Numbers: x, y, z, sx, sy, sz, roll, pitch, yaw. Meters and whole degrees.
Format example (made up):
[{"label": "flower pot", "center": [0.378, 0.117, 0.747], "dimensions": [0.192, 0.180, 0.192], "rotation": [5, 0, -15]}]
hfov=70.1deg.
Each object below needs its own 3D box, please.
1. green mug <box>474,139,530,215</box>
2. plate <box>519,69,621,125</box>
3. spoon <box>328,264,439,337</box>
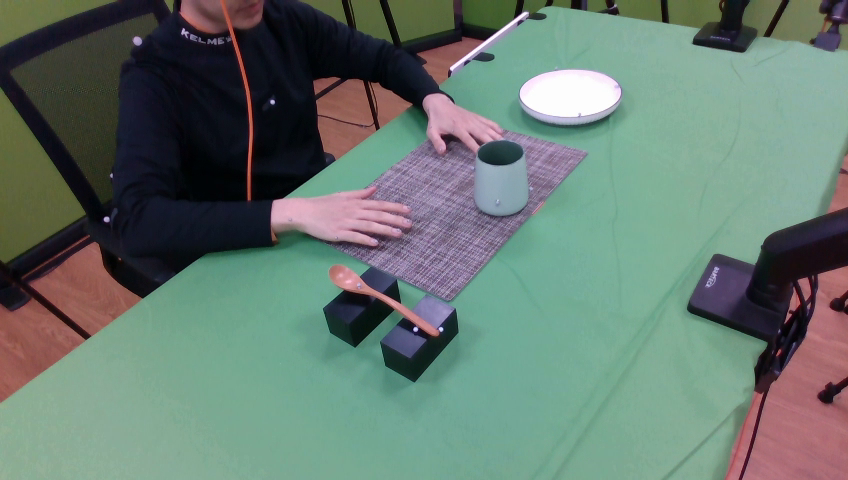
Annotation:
[{"label": "green mug", "center": [0.126, -0.113, 1.013], "dimensions": [0.092, 0.105, 0.124], "rotation": [-8, 41, 0]}, {"label": "plate", "center": [0.300, -0.293, 1.253], "dimensions": [0.209, 0.038, 0.208], "rotation": [-4, 41, 4]}, {"label": "spoon", "center": [-0.056, 0.079, 0.807], "dimensions": [0.192, 0.021, 0.042], "rotation": [25, 33, 32]}]
